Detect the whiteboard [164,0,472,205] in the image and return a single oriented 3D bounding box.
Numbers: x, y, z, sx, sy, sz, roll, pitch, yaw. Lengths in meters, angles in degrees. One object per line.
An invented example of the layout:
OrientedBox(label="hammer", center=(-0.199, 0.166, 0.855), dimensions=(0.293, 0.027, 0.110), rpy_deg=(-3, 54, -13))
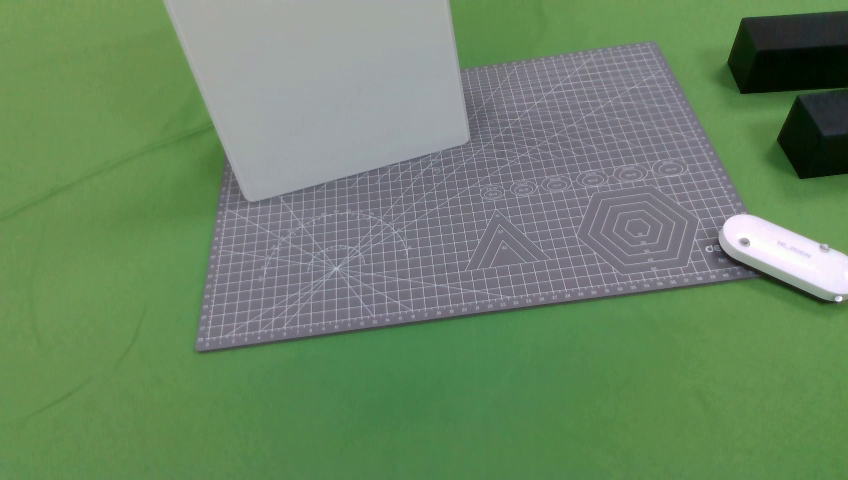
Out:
OrientedBox(label="whiteboard", center=(-0.100, -0.221, 0.532), dimensions=(0.217, 0.308, 0.142), rpy_deg=(-16, 34, -4))

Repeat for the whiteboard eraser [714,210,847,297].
OrientedBox(label="whiteboard eraser", center=(0.273, 0.009, 0.456), dimensions=(0.100, 0.019, 0.041), rpy_deg=(28, 60, 22))
